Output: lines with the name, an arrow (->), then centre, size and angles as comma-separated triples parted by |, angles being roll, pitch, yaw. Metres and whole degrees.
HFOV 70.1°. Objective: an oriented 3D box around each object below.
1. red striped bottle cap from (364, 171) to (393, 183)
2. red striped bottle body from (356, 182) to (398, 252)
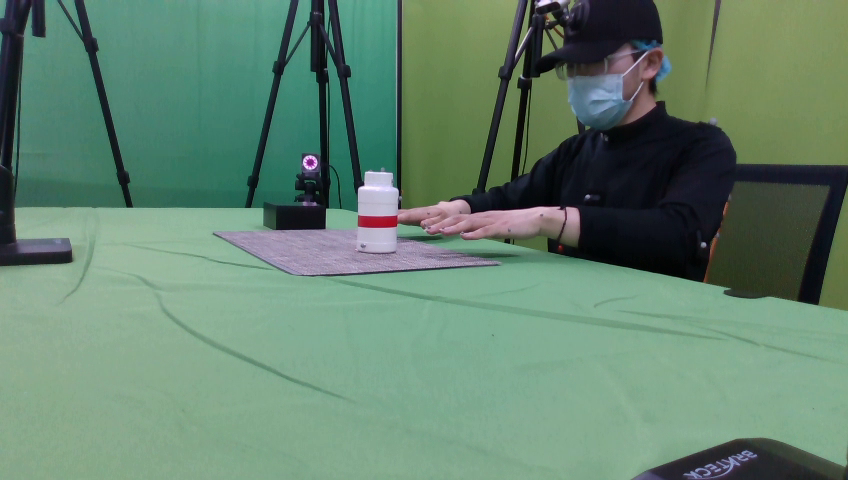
red striped bottle cap -> -0.069, -0.096, 0.918 | 0.044, 0.017, 0.044 | 0, 4, 0
red striped bottle body -> -0.071, -0.043, 0.924 | 0.063, 0.119, 0.063 | 2, 7, 0
